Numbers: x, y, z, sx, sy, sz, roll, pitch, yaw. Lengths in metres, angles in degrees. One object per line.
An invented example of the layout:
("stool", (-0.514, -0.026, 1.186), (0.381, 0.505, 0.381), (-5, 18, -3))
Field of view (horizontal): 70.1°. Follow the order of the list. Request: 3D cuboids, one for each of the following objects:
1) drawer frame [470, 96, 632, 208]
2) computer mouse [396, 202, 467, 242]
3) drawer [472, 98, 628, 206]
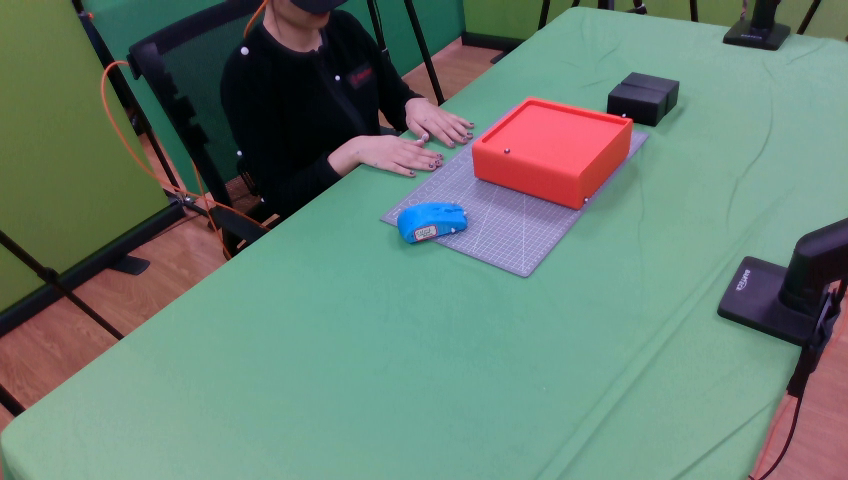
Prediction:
("drawer frame", (0.227, -0.164, 1.081), (0.212, 0.083, 0.202), (23, 49, 31))
("computer mouse", (0.012, -0.035, 1.005), (0.117, 0.041, 0.062), (-11, 38, -8))
("drawer", (0.225, -0.164, 1.082), (0.210, 0.073, 0.195), (23, 49, 32))
